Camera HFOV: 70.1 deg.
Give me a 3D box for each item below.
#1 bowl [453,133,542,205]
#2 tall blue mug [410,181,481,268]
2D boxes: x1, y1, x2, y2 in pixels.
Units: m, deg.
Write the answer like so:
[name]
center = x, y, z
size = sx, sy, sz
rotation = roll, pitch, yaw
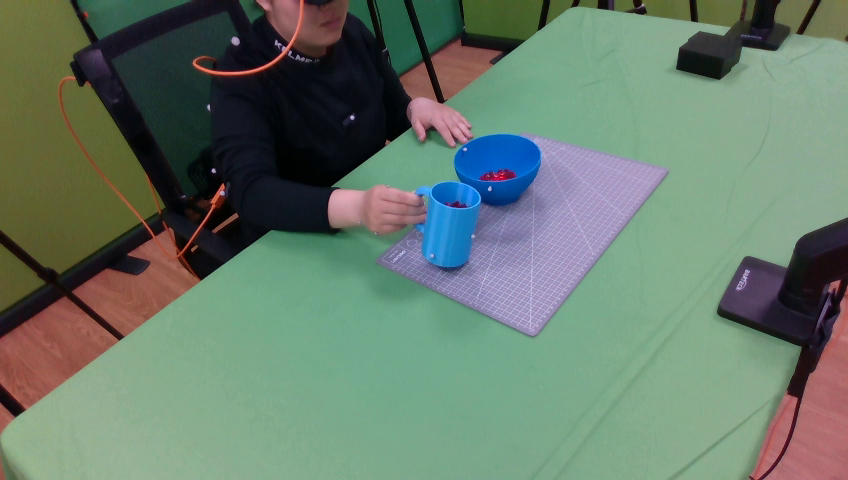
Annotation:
[bowl]
center = 0.129, -0.112, 1.045
size = 0.151, 0.077, 0.150
rotation = -5, 40, 5
[tall blue mug]
center = 0.024, -0.027, 0.905
size = 0.107, 0.108, 0.077
rotation = 13, 37, 5
